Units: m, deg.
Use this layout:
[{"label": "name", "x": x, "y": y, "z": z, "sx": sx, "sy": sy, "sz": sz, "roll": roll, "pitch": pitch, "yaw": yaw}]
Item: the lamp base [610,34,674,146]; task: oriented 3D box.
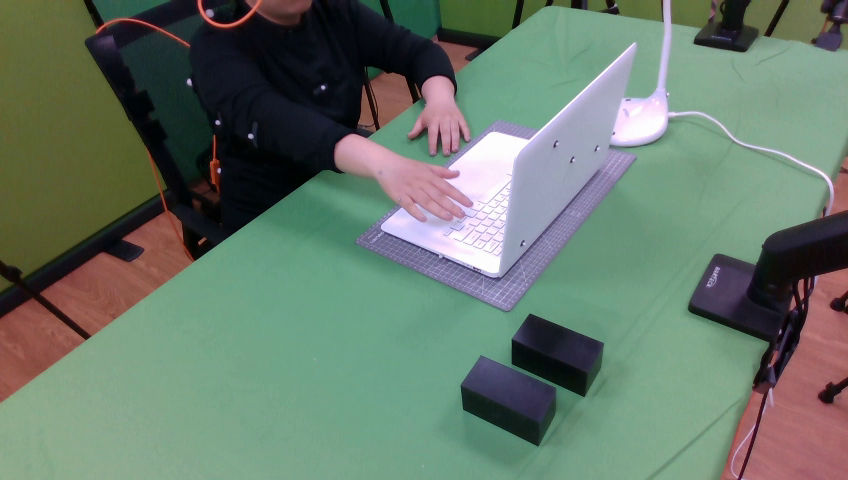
[{"label": "lamp base", "x": 0.392, "y": -0.291, "z": 1.129, "sx": 0.180, "sy": 0.181, "sz": 0.159, "roll": -11, "pitch": 41, "yaw": -8}]

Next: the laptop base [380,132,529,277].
[{"label": "laptop base", "x": 0.122, "y": -0.077, "z": 1.042, "sx": 0.233, "sy": 0.023, "sz": 0.355, "roll": 20, "pitch": 47, "yaw": 33}]

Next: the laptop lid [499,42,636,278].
[{"label": "laptop lid", "x": 0.217, "y": -0.122, "z": 0.898, "sx": 0.013, "sy": 0.242, "sz": 0.358, "roll": 28, "pitch": 50, "yaw": 25}]
